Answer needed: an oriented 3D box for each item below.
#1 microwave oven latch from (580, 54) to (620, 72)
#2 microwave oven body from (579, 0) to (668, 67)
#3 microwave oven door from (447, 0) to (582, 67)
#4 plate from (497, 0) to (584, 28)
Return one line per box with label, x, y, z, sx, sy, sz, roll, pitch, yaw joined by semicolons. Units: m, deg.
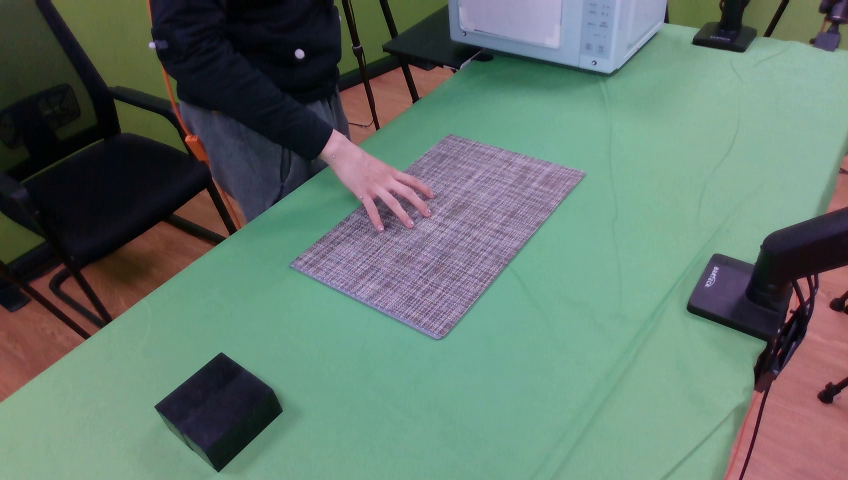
microwave oven latch;0.386;-0.393;1.330;0.078;0.029;0.030;25;51;32
microwave oven body;0.325;-0.609;1.438;0.438;0.261;0.327;23;50;30
microwave oven door;0.203;-0.544;1.372;0.353;0.245;0.039;23;49;30
plate;0.286;-0.572;1.488;0.209;0.038;0.208;-5;42;5
